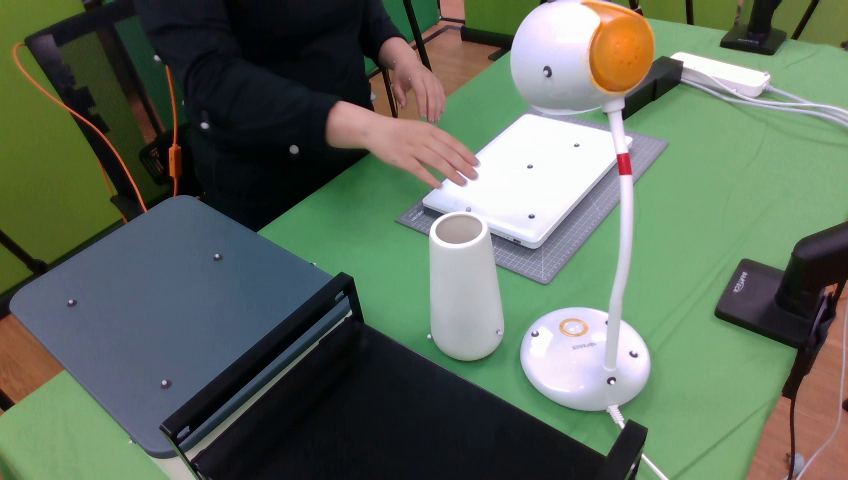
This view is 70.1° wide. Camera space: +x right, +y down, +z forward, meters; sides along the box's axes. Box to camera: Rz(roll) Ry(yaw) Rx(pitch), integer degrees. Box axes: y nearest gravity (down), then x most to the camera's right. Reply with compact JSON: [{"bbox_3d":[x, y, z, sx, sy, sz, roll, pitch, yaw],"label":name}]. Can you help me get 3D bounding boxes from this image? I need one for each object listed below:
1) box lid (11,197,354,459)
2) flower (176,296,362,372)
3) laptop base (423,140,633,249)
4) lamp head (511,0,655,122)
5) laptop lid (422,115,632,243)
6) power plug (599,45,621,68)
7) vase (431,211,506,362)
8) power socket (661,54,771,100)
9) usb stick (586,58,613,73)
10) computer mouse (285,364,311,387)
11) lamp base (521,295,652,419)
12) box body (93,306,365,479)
[{"bbox_3d":[-0.288,0.072,0.710,0.368,0.015,0.264,25,50,32],"label":"box lid"},{"bbox_3d":[-0.232,0.115,0.833,0.359,0.038,0.044,10,87,33],"label":"flower"},{"bbox_3d":[0.194,-0.117,1.087,0.233,0.023,0.355,21,48,34],"label":"laptop base"},{"bbox_3d":[0.155,-0.168,0.564,0.113,0.113,0.122,-18,23,-12],"label":"lamp head"},{"bbox_3d":[0.190,-0.126,1.081,0.239,0.013,0.358,23,48,34],"label":"laptop lid"},{"bbox_3d":[0.437,-0.422,1.412,0.053,0.035,0.072,-19,74,-46],"label":"power plug"},{"bbox_3d":[0.054,0.062,0.757,0.098,0.201,0.097,-3,40,3],"label":"vase"},{"bbox_3d":[0.615,-0.348,1.285,0.072,0.033,0.225,-36,48,-29],"label":"power socket"},{"bbox_3d":[0.401,-0.399,1.381,0.059,0.027,0.021,0,47,21],"label":"usb stick"},{"bbox_3d":[-0.161,0.158,0.791,0.116,0.041,0.063,26,46,23],"label":"computer mouse"},{"bbox_3d":[0.201,0.095,0.710,0.161,0.181,0.177,-16,43,-10],"label":"lamp base"},{"bbox_3d":[-0.281,0.128,0.759,0.361,0.161,0.255,24,49,32],"label":"box body"}]
